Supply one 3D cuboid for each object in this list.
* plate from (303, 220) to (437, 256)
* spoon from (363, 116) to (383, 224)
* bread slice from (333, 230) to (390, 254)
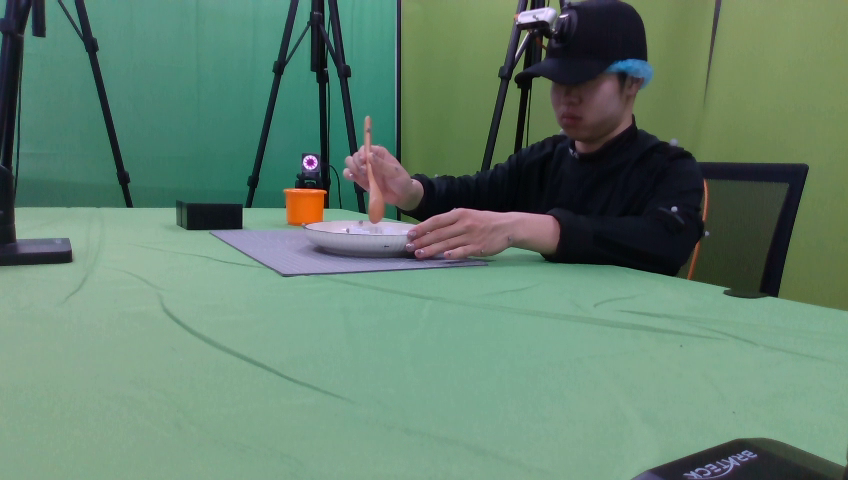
[{"bbox_3d":[-0.084,-0.003,0.951,0.209,0.038,0.209,3,7,0],"label":"plate"},{"bbox_3d":[-0.088,-0.116,0.969,0.021,0.193,0.042,-21,-25,24],"label":"spoon"},{"bbox_3d":[-0.088,0.001,0.947,0.105,0.019,0.131,-4,11,-45],"label":"bread slice"}]
